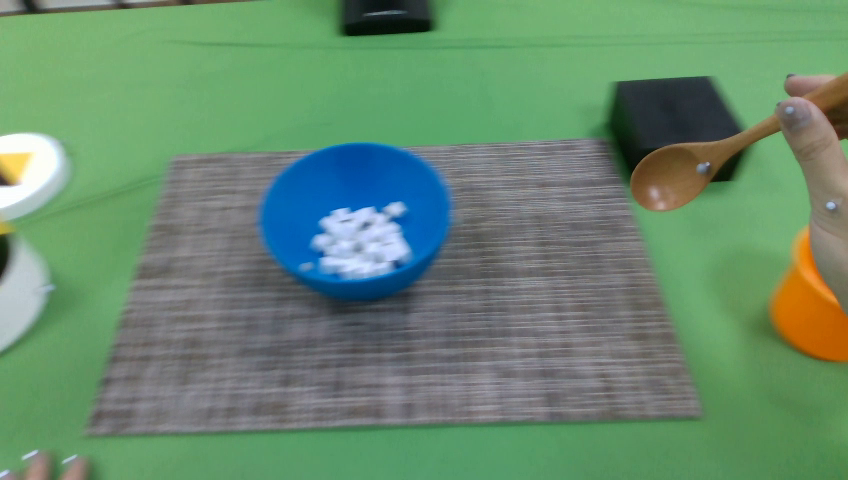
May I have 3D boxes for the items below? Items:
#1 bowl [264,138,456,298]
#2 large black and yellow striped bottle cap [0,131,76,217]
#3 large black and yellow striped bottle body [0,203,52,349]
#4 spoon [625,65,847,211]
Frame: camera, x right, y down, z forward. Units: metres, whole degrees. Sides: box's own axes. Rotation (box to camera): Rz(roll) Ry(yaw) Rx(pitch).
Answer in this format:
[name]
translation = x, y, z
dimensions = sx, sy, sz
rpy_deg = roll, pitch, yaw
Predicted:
[bowl]
translation = -0.049, -0.005, 0.502
dimensions = 0.151, 0.077, 0.150
rpy_deg = -1, 51, 1
[large black and yellow striped bottle cap]
translation = -0.416, -0.068, 0.612
dimensions = 0.115, 0.019, 0.114
rpy_deg = 0, 51, 0
[large black and yellow striped bottle body]
translation = -0.386, -0.002, 0.448
dimensions = 0.131, 0.186, 0.129
rpy_deg = -1, 51, 2
[spoon]
translation = 0.185, -0.061, 0.339
dimensions = 0.022, 0.194, 0.041
rpy_deg = -22, 83, -26
